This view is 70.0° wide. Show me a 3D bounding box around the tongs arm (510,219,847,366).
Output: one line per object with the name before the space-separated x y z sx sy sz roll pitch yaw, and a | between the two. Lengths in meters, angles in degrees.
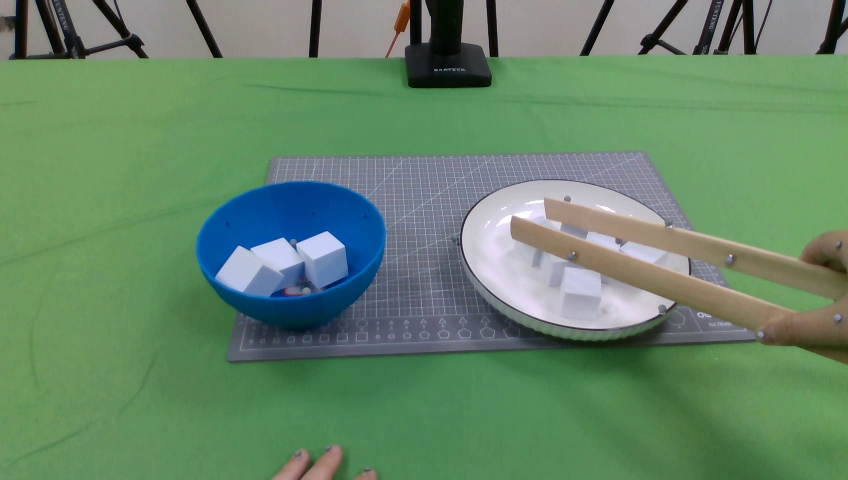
tongs arm | 0.217 0.043 0.415 0.384 0.028 0.028 21 38 40

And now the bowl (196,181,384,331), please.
bowl | -0.107 0.024 0.514 0.151 0.077 0.150 2 41 -1

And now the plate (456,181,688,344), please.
plate | 0.133 0.019 0.562 0.208 0.039 0.205 2 41 -1

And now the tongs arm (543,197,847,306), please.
tongs arm | 0.239 0.029 0.432 0.381 0.027 0.051 19 40 38
